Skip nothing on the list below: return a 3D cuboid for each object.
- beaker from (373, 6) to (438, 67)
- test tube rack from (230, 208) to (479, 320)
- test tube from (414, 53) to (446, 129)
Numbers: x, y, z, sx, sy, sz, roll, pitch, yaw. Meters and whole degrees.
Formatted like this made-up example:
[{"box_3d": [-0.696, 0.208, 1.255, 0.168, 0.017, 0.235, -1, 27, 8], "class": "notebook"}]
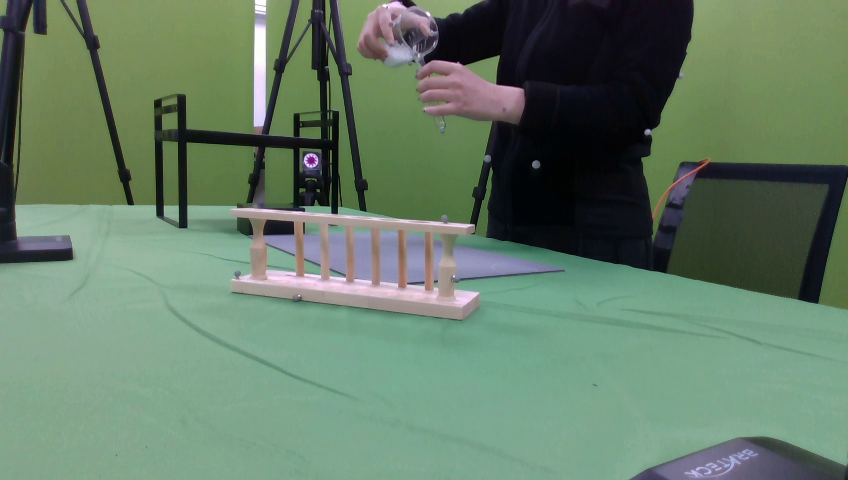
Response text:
[{"box_3d": [-0.034, -0.331, 1.006, 0.074, 0.084, 0.100, -2, 1, -32], "class": "beaker"}, {"box_3d": [-0.069, 0.017, 0.598, 0.242, 0.085, 0.067, 5, 8, 18], "class": "test tube rack"}, {"box_3d": [0.009, -0.231, 0.934, 0.017, 0.149, 0.017, -13, -27, -6], "class": "test tube"}]
